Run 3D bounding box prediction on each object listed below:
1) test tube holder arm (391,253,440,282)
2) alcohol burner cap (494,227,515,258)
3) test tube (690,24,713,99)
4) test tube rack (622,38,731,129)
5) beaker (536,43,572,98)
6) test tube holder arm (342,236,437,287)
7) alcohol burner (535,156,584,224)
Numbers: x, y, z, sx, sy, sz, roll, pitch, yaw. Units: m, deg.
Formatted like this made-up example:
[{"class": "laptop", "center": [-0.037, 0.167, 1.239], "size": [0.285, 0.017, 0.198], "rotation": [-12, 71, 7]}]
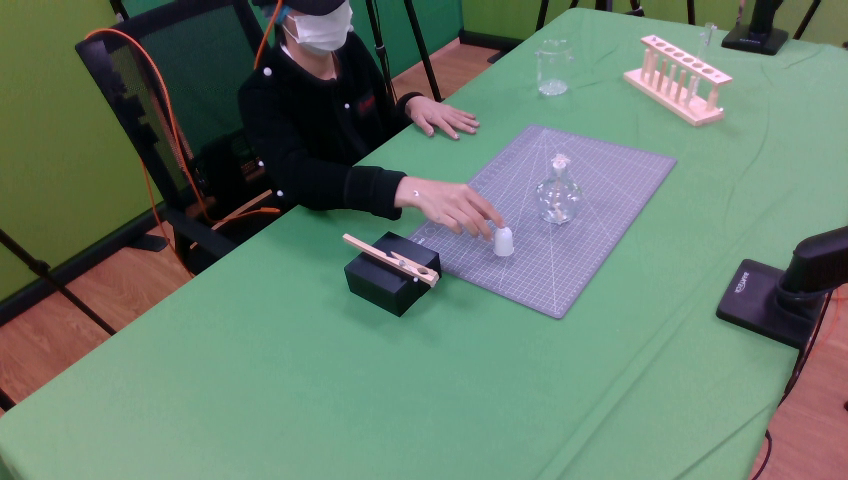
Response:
[{"class": "test tube holder arm", "center": [-0.015, 0.039, 0.858], "size": [0.087, 0.015, 0.010], "rotation": [22, 56, 32]}, {"class": "alcohol burner cap", "center": [0.124, 0.001, 0.936], "size": [0.034, 0.048, 0.033], "rotation": [-4, 40, 4]}, {"class": "test tube", "center": [0.534, -0.342, 1.172], "size": [0.017, 0.151, 0.017], "rotation": [-3, 41, 3]}, {"class": "test tube rack", "center": [0.506, -0.325, 1.234], "size": [0.067, 0.085, 0.240], "rotation": [-18, 41, -11]}, {"class": "beaker", "center": [0.280, -0.368, 1.311], "size": [0.074, 0.101, 0.084], "rotation": [4, 41, 14]}, {"class": "test tube holder arm", "center": [-0.054, 0.029, 0.879], "size": [0.177, 0.015, 0.013], "rotation": [22, 56, 32]}, {"class": "alcohol burner", "center": [0.217, -0.085, 0.967], "size": [0.078, 0.119, 0.077], "rotation": [-3, 41, 3]}]
